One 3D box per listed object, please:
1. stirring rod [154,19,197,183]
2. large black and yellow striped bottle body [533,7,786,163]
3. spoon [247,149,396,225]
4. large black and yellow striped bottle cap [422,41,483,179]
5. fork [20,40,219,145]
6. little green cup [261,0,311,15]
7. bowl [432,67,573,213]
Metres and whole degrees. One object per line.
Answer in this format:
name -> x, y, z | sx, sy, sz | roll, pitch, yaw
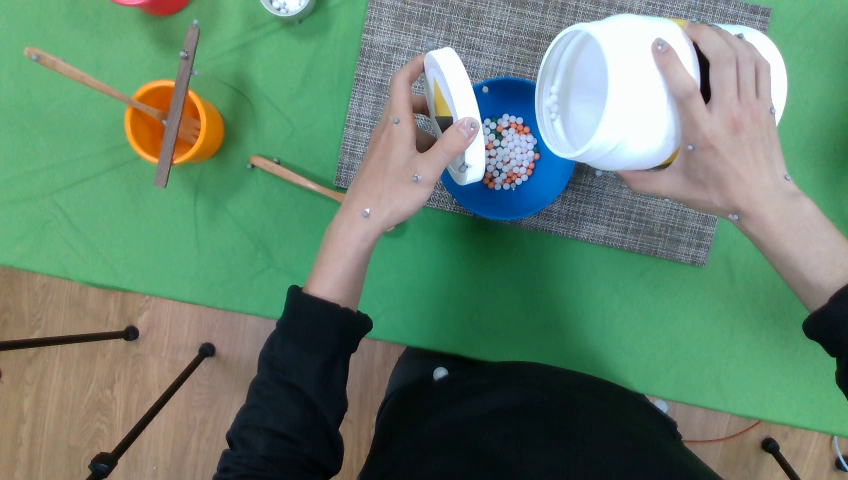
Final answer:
stirring rod -> -0.266, -0.147, 0.647 | 0.014, 0.006, 0.176 | 14, 97, -1
large black and yellow striped bottle body -> 0.203, -0.135, 0.539 | 0.185, 0.130, 0.131 | -5, 96, -20
spoon -> -0.122, -0.068, 0.716 | 0.194, 0.021, 0.042 | 23, 110, -1
large black and yellow striped bottle cap -> 0.023, -0.109, 0.515 | 0.019, 0.114, 0.115 | -16, 95, -8
fork -> -0.318, -0.155, 0.651 | 0.209, 0.018, 0.028 | 26, 101, -44
little green cup -> -0.156, -0.286, 0.685 | 0.061, 0.038, 0.061 | 0, 96, 3
bowl -> 0.085, -0.106, 0.672 | 0.151, 0.076, 0.151 | 0, 96, 3
